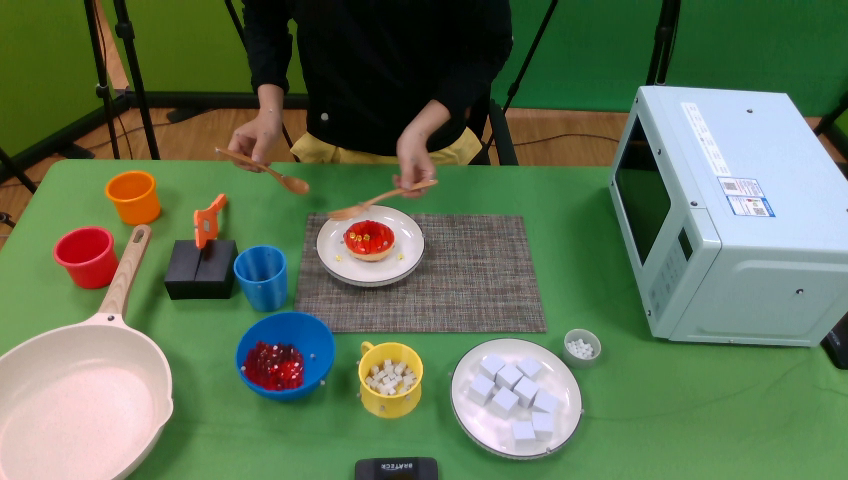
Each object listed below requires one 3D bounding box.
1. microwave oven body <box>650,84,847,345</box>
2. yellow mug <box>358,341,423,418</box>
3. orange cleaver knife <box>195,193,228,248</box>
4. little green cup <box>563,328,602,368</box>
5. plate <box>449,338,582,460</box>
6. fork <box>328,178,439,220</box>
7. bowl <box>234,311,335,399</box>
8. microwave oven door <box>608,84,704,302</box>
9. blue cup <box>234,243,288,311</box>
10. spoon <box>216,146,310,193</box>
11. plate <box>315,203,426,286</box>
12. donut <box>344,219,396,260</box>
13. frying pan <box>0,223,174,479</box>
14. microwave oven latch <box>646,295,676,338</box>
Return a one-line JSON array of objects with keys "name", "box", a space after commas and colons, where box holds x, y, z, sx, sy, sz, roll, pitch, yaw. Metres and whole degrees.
[{"name": "microwave oven body", "box": [0.569, -0.054, 1.116, 0.326, 0.261, 0.439, 2, 46, -1]}, {"name": "yellow mug", "box": [-0.063, 0.210, 0.960, 0.100, 0.064, 0.130, -29, 54, -28]}, {"name": "orange cleaver knife", "box": [-0.406, -0.041, 1.163, 0.012, 0.077, 0.210, 0, 18, -4]}, {"name": "little green cup", "box": [0.266, 0.185, 1.025, 0.061, 0.039, 0.061, 3, 45, -2]}, {"name": "plate", "box": [0.141, 0.251, 0.955, 0.208, 0.039, 0.206, 2, 46, -2]}, {"name": "fork", "box": [-0.070, -0.074, 1.071, 0.207, 0.019, 0.028, -22, 43, -5]}, {"name": "bowl", "box": [-0.214, 0.194, 0.956, 0.151, 0.077, 0.150, 2, 46, -2]}, {"name": "microwave oven door", "box": [0.424, -0.096, 1.138, 0.039, 0.245, 0.353, 2, 47, -1]}, {"name": "blue cup", "box": [-0.276, 0.072, 1.052, 0.093, 0.101, 0.092, 1, 48, -1]}, {"name": "spoon", "box": [-0.301, -0.136, 1.145, 0.195, 0.021, 0.041, 28, 42, -39]}, {"name": "plate", "box": [-0.101, 0.012, 1.159, 0.209, 0.038, 0.208, 2, 46, -2]}, {"name": "donut", "box": [-0.102, -0.003, 1.157, 0.099, 0.048, 0.098, 3, 43, -2]}, {"name": "frying pan", "box": [-0.505, 0.169, 0.941, 0.307, 0.103, 0.485, 5, 54, -1]}, {"name": "microwave oven latch", "box": [0.413, 0.133, 1.060, 0.030, 0.029, 0.078, 4, 46, 1]}]
